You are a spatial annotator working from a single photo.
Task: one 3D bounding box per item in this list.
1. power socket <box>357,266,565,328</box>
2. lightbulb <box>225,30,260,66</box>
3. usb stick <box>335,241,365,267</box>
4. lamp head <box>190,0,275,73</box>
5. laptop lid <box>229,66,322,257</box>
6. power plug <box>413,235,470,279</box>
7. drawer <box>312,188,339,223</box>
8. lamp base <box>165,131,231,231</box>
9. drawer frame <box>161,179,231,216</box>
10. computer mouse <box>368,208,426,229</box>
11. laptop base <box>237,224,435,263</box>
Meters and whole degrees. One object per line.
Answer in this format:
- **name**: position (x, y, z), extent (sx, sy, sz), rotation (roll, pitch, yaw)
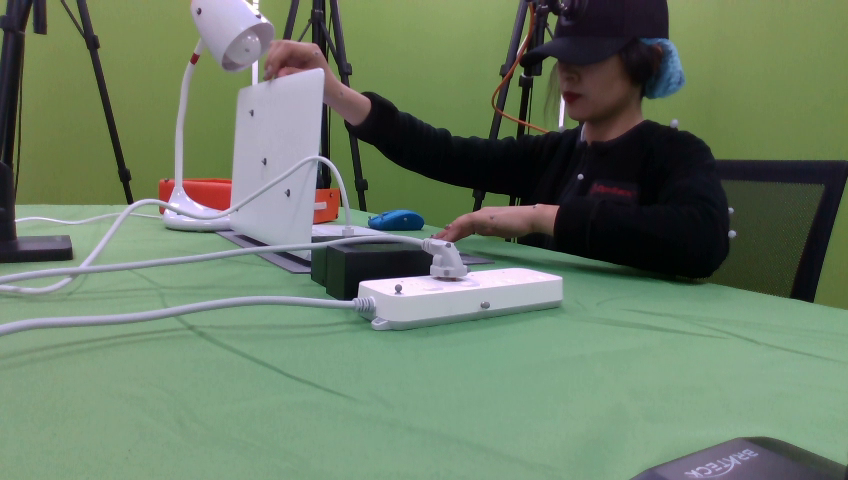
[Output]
- **power socket**: position (0.041, 0.049, 0.572), extent (0.228, 0.032, 0.072), rotation (-3, 8, -35)
- **lightbulb**: position (-0.318, -0.335, 1.000), extent (0.107, 0.059, 0.059), rotation (46, 15, 5)
- **usb stick**: position (-0.095, 0.016, 0.747), extent (0.021, 0.027, 0.059), rotation (-6, 8, -33)
- **lamp head**: position (-0.331, -0.355, 1.008), extent (0.123, 0.112, 0.112), rotation (43, 15, 6)
- **laptop lid**: position (-0.226, -0.114, 0.872), extent (0.013, 0.241, 0.355), rotation (2, 8, -33)
- **power plug**: position (0.017, 0.022, 0.588), extent (0.035, 0.052, 0.072), rotation (-1, 8, -23)
- **drawer**: position (-0.314, -0.079, 1.301), extent (0.211, 0.073, 0.195), rotation (4, 8, 15)
- **lamp base**: position (-0.407, -0.111, 1.119), extent (0.179, 0.180, 0.161), rotation (-1, 7, 7)
- **drawer frame**: position (-0.421, -0.089, 1.329), extent (0.213, 0.082, 0.202), rotation (4, 8, 16)
- **computer mouse**: position (-0.057, -0.045, 1.267), extent (0.118, 0.041, 0.062), rotation (-7, 12, -28)
- **laptop base**: position (-0.136, 0.002, 0.949), extent (0.237, 0.023, 0.352), rotation (1, 7, -33)
